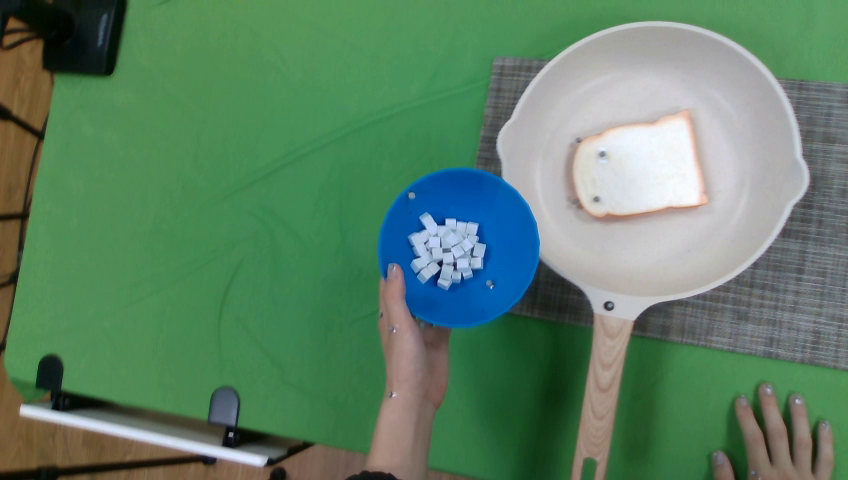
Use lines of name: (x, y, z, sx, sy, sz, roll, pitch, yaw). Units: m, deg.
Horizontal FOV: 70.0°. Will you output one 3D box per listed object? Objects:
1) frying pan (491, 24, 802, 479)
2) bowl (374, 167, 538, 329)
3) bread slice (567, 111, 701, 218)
frying pan: (0.203, 0.020, 0.632, 0.306, 0.103, 0.486, 11, 79, 15)
bowl: (0.034, 0.013, 0.586, 0.151, 0.077, 0.151, -2, 80, 9)
bread slice: (0.229, -0.075, 0.675, 0.134, 0.018, 0.106, -13, 82, 9)
